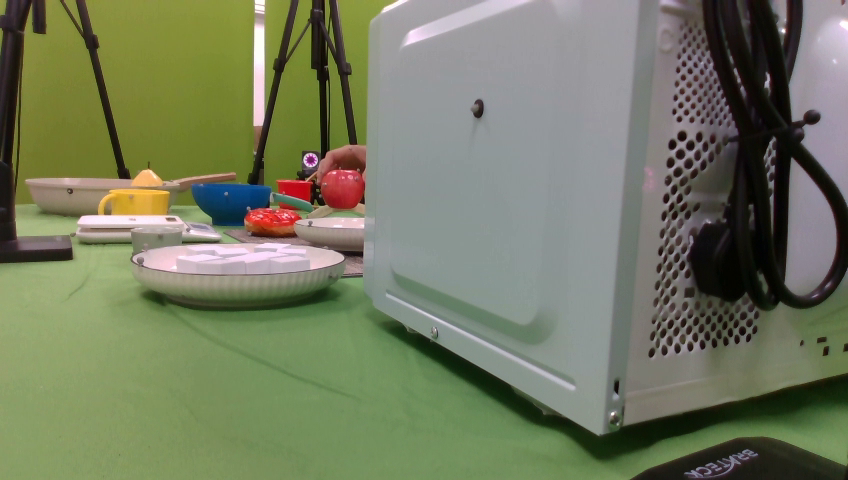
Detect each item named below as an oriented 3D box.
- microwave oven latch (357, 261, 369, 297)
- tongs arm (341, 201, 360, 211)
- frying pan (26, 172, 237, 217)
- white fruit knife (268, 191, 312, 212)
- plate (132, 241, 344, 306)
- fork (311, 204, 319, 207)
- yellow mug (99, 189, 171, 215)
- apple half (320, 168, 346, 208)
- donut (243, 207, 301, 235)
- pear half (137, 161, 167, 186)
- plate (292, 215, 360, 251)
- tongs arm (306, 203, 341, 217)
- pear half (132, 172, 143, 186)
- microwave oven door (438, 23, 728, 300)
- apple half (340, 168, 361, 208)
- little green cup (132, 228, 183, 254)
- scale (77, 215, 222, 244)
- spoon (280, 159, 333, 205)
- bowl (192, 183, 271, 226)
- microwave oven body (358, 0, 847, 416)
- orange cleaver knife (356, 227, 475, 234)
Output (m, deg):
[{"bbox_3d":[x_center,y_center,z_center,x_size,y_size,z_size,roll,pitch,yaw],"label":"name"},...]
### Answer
[{"bbox_3d":[-0.019,0.033,0.530,0.079,0.029,0.030,-1,7,-26],"label":"microwave oven latch"},{"bbox_3d":[-0.149,-0.070,1.429,0.051,0.026,0.383,-5,9,-14],"label":"tongs arm"},{"bbox_3d":[-0.624,-0.118,1.387,0.305,0.102,0.490,8,17,32],"label":"frying pan"},{"bbox_3d":[-0.364,-0.105,1.464,0.208,0.027,0.016,15,0,-34],"label":"white fruit knife"},{"bbox_3d":[-0.187,0.033,0.625,0.208,0.039,0.207,2,7,0],"label":"plate"},{"bbox_3d":[-0.356,-0.105,1.526,0.208,0.018,0.028,16,-6,-41],"label":"fork"},{"bbox_3d":[-0.519,-0.055,1.080,0.099,0.064,0.131,7,9,26],"label":"yellow mug"},{"bbox_3d":[-0.166,-0.097,1.135,0.053,0.074,0.081,-3,9,13],"label":"apple half"},{"bbox_3d":[-0.261,-0.032,1.043,0.099,0.048,0.099,4,9,0],"label":"donut"},{"bbox_3d":[-0.602,-0.120,1.354,0.056,0.110,0.076,4,11,6],"label":"pear half"},{"bbox_3d":[-0.096,-0.012,0.929,0.209,0.038,0.209,1,7,0],"label":"plate"},{"bbox_3d":[-0.234,-0.067,1.414,0.028,0.028,0.387,-6,8,1],"label":"tongs arm"},{"bbox_3d":[-0.638,-0.113,1.361,0.031,0.088,0.070,5,11,4],"label":"pear half"},{"bbox_3d":[0.181,-0.073,0.621,0.358,0.243,0.039,-2,8,-29],"label":"microwave oven door"},{"bbox_3d":[-0.128,-0.098,1.126,0.033,0.081,0.081,-3,6,15],"label":"apple half"},{"bbox_3d":[-0.342,0.006,0.779,0.061,0.038,0.061,2,8,0],"label":"little green cup"},{"bbox_3d":[-0.434,-0.019,0.963,0.202,0.031,0.148,-1,9,-27],"label":"scale"},{"bbox_3d":[-0.316,-0.159,1.640,0.194,0.022,0.041,-50,32,-20],"label":"spoon"},{"bbox_3d":[-0.382,-0.071,1.202,0.151,0.077,0.151,3,7,0],"label":"bowl"},{"bbox_3d":[0.211,-0.047,0.474,0.444,0.260,0.324,-1,7,-28],"label":"microwave oven body"},{"bbox_3d":[-0.016,-0.015,1.080,0.211,0.012,0.077,-1,0,-3],"label":"orange cleaver knife"}]
